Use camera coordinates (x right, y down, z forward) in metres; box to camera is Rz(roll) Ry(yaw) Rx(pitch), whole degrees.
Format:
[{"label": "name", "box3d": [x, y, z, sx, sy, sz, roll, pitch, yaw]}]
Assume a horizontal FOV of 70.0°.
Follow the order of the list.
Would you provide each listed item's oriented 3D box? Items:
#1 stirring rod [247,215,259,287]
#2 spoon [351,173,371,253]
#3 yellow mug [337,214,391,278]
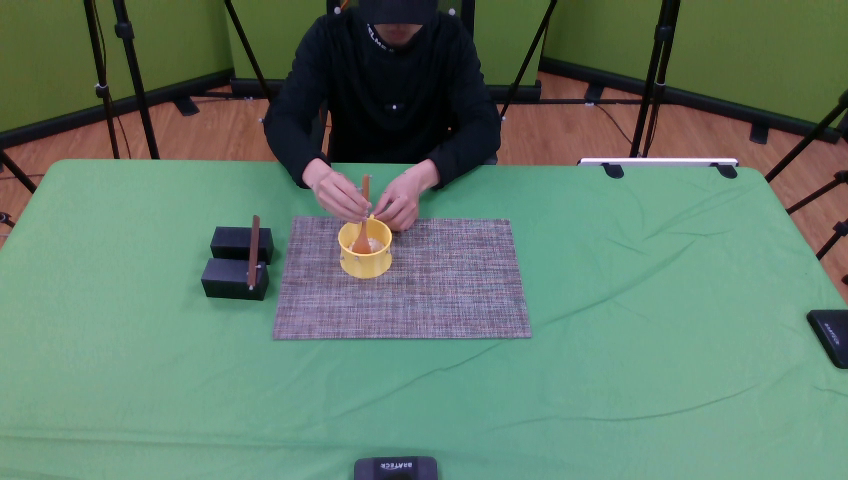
[{"label": "stirring rod", "box3d": [-0.309, 0.016, 1.097, 0.014, 0.006, 0.175, 24, 36, -31]}, {"label": "spoon", "box3d": [-0.110, -0.035, 1.091, 0.041, 0.194, 0.021, 14, 32, 11]}, {"label": "yellow mug", "box3d": [-0.110, 0.002, 1.152, 0.100, 0.064, 0.130, 7, 45, 2]}]
